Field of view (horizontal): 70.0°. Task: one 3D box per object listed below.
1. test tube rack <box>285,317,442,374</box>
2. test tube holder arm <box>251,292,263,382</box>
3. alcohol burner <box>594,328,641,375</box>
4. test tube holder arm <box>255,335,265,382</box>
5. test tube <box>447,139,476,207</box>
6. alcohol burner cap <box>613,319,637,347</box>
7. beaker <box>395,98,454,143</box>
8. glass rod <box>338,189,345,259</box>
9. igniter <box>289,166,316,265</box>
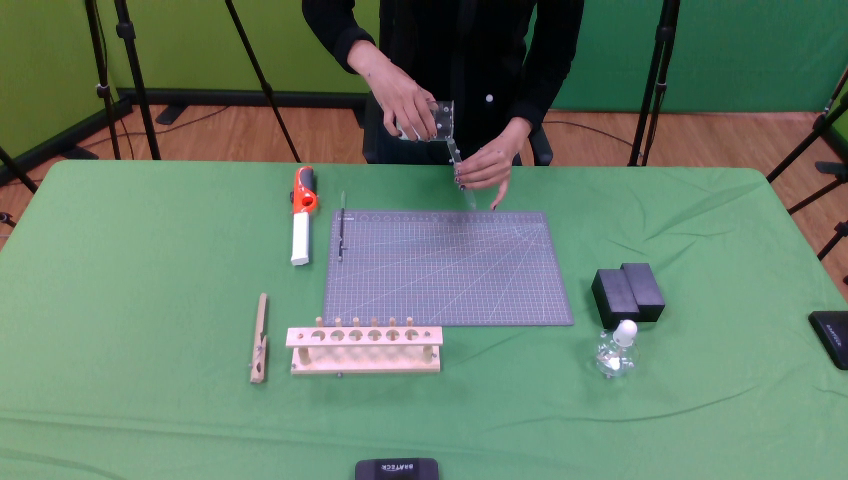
[{"bbox_3d":[-0.095,0.166,0.988,0.242,0.085,0.066,0,46,-4],"label":"test tube rack"},{"bbox_3d":[-0.282,0.159,1.025,0.013,0.015,0.177,23,36,-33],"label":"test tube holder arm"},{"bbox_3d":[0.322,0.170,0.994,0.078,0.119,0.077,3,48,-3],"label":"alcohol burner"},{"bbox_3d":[-0.270,0.193,0.997,0.010,0.015,0.087,24,36,-32],"label":"test tube holder arm"},{"bbox_3d":[0.072,-0.124,1.145,0.017,0.151,0.017,-16,35,11],"label":"test tube"},{"bbox_3d":[0.323,0.146,0.966,0.034,0.048,0.033,-1,52,2],"label":"alcohol burner cap"},{"bbox_3d":[0.002,-0.213,1.082,0.100,0.084,0.073,3,43,4],"label":"beaker"},{"bbox_3d":[-0.166,-0.037,1.227,0.008,0.008,0.198,-1,47,-4],"label":"glass rod"},{"bbox_3d":[-0.248,-0.058,1.233,0.057,0.025,0.274,-9,47,1],"label":"igniter"}]
